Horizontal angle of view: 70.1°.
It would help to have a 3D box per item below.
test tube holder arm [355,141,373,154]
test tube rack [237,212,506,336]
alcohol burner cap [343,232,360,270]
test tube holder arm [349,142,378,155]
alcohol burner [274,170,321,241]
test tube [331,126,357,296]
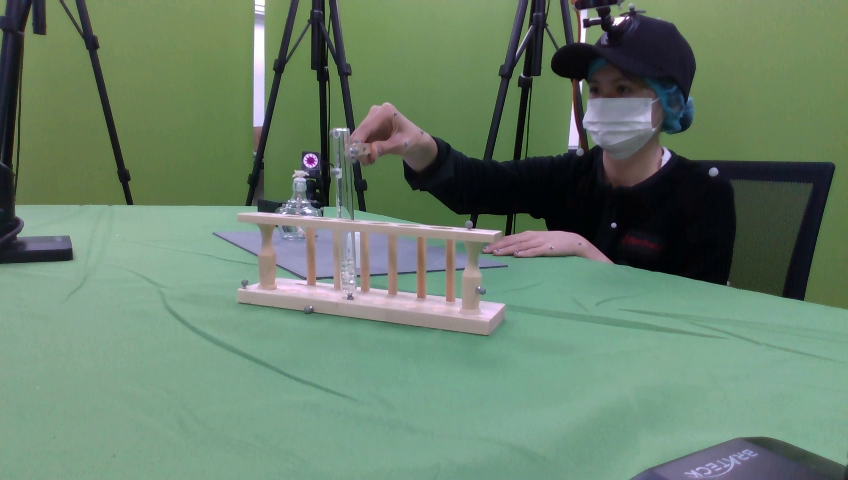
[{"bbox_3d":[-0.071,-0.111,0.723,0.010,0.015,0.088,-6,8,3],"label":"test tube holder arm"},{"bbox_3d":[-0.049,0.024,0.552,0.242,0.085,0.067,5,8,19],"label":"test tube rack"},{"bbox_3d":[-0.087,0.013,0.777,0.034,0.048,0.034,3,7,0],"label":"alcohol burner cap"},{"bbox_3d":[-0.075,-0.117,0.768,0.013,0.015,0.178,-6,8,3],"label":"test tube holder arm"},{"bbox_3d":[-0.212,-0.058,1.015,0.078,0.119,0.078,4,5,0],"label":"alcohol burner"},{"bbox_3d":[-0.070,-0.025,0.534,0.017,0.150,0.017,-2,8,1],"label":"test tube"}]
